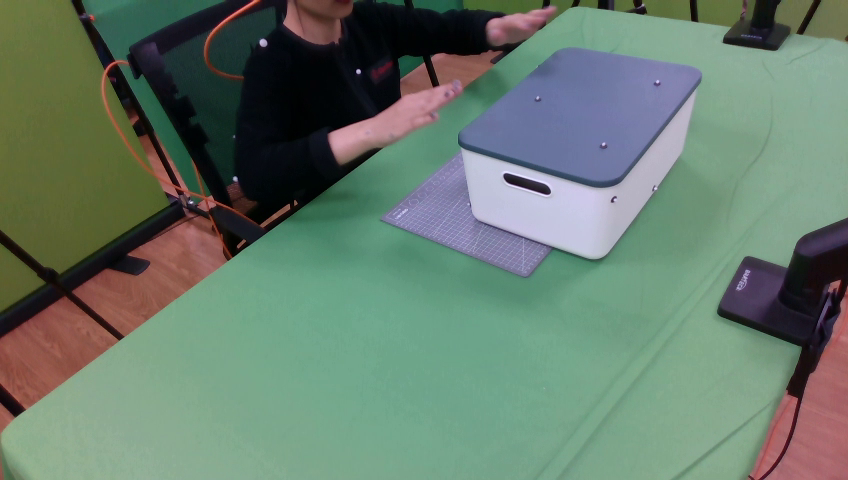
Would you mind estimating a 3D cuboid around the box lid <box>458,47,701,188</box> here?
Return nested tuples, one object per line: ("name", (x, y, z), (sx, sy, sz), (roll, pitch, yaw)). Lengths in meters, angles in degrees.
("box lid", (0.253, -0.211, 0.954), (0.261, 0.015, 0.372), (22, 49, 30))

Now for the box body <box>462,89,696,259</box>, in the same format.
("box body", (0.261, -0.153, 1.001), (0.252, 0.161, 0.365), (21, 48, 31))
